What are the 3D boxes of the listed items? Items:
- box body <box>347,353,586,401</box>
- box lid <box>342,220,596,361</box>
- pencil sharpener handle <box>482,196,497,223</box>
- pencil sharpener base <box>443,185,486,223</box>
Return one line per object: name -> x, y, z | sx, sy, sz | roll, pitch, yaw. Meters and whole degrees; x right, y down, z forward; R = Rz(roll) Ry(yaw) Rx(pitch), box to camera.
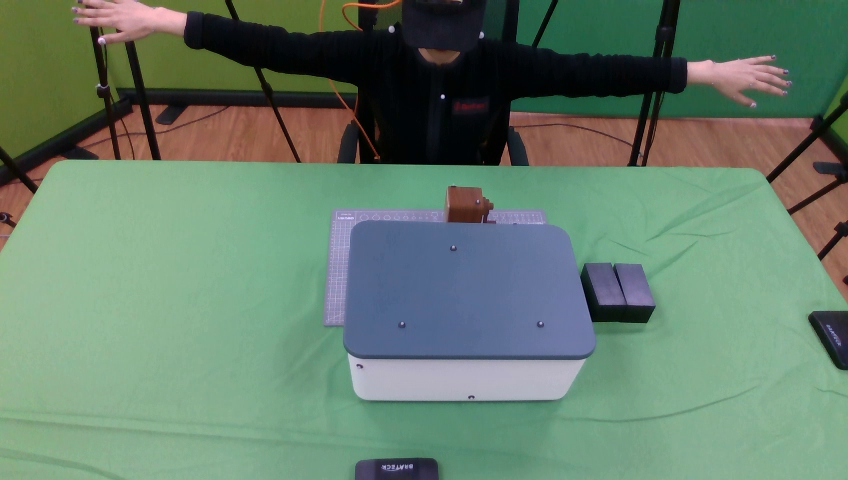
box body -> 0.060, 0.120, 0.988 | 0.364, 0.161, 0.252 | 1, 47, -4
box lid -> 0.066, 0.070, 0.934 | 0.372, 0.015, 0.261 | 1, 48, -4
pencil sharpener handle -> 0.130, -0.056, 1.182 | 0.031, 0.068, 0.036 | 2, 43, -3
pencil sharpener base -> 0.078, -0.049, 1.188 | 0.077, 0.107, 0.061 | 2, 46, -3
